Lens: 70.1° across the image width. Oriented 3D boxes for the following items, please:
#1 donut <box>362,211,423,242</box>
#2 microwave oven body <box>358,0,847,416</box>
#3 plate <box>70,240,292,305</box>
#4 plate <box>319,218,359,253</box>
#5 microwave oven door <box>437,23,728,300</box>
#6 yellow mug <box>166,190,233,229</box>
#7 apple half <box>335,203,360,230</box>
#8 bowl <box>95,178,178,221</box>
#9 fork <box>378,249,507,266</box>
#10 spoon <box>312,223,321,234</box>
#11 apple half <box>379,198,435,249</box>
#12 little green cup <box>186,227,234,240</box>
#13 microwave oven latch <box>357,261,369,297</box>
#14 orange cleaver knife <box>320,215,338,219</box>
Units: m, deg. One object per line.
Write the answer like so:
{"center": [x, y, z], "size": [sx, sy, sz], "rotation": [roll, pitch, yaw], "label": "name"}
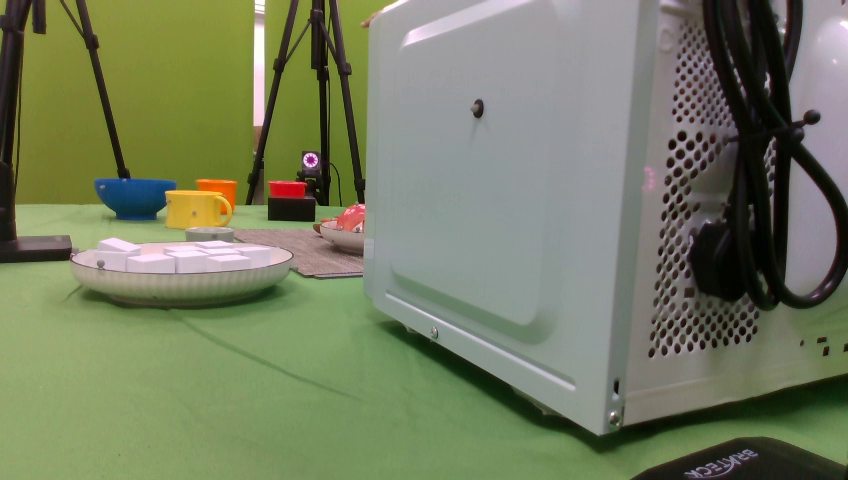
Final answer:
{"center": [-0.050, -0.020, 0.958], "size": [0.099, 0.048, 0.099], "rotation": [3, 6, 0], "label": "donut"}
{"center": [0.211, -0.047, 0.474], "size": [0.444, 0.260, 0.324], "rotation": [-1, 7, -28], "label": "microwave oven body"}
{"center": [-0.242, 0.031, 0.618], "size": [0.208, 0.039, 0.207], "rotation": [2, 8, 0], "label": "plate"}
{"center": [-0.059, -0.007, 0.939], "size": [0.209, 0.038, 0.209], "rotation": [3, 8, 0], "label": "plate"}
{"center": [0.181, -0.072, 0.621], "size": [0.358, 0.243, 0.039], "rotation": [-2, 8, -29], "label": "microwave oven door"}
{"center": [-0.415, -0.057, 1.132], "size": [0.130, 0.064, 0.100], "rotation": [6, 8, 16], "label": "yellow mug"}
{"center": [-0.116, -0.038, 0.959], "size": [0.081, 0.033, 0.081], "rotation": [-38, 8, 7], "label": "apple half"}
{"center": [-0.576, -0.081, 1.217], "size": [0.151, 0.077, 0.151], "rotation": [3, 7, 0], "label": "bowl"}
{"center": [0.031, 0.022, 0.819], "size": [0.208, 0.018, 0.028], "rotation": [-5, 4, -33], "label": "fork"}
{"center": [-0.112, -0.022, 1.095], "size": [0.195, 0.021, 0.041], "rotation": [-4, -16, -38], "label": "spoon"}
{"center": [-0.020, -0.030, 0.891], "size": [0.081, 0.053, 0.074], "rotation": [-2, 49, -26], "label": "apple half"}
{"center": [-0.284, 0.005, 0.805], "size": [0.061, 0.038, 0.061], "rotation": [2, 8, 0], "label": "little green cup"}
{"center": [-0.019, 0.033, 0.531], "size": [0.079, 0.029, 0.030], "rotation": [-1, 7, -27], "label": "microwave oven latch"}
{"center": [-0.142, -0.057, 1.394], "size": [0.077, 0.012, 0.212], "rotation": [3, 7, 44], "label": "orange cleaver knife"}
